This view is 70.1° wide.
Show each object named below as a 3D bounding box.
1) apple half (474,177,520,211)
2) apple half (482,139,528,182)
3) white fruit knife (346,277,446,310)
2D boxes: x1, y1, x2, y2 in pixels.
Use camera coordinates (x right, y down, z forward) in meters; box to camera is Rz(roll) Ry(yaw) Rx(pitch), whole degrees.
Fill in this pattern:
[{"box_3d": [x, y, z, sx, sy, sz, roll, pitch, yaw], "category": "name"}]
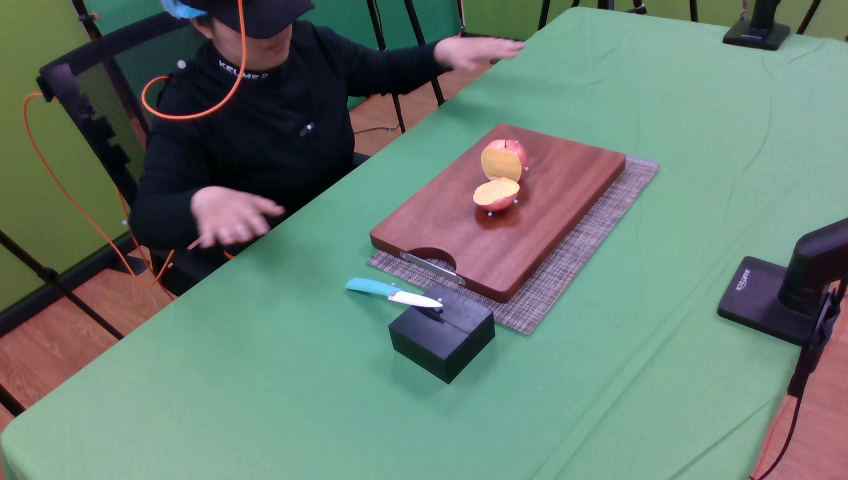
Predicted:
[{"box_3d": [0.123, -0.070, 0.994, 0.081, 0.033, 0.081, -17, 29, 11], "category": "apple half"}, {"box_3d": [0.145, -0.138, 1.039, 0.080, 0.075, 0.053, 15, 41, 31], "category": "apple half"}, {"box_3d": [-0.042, 0.077, 0.865, 0.205, 0.016, 0.027, 9, 41, 46], "category": "white fruit knife"}]
